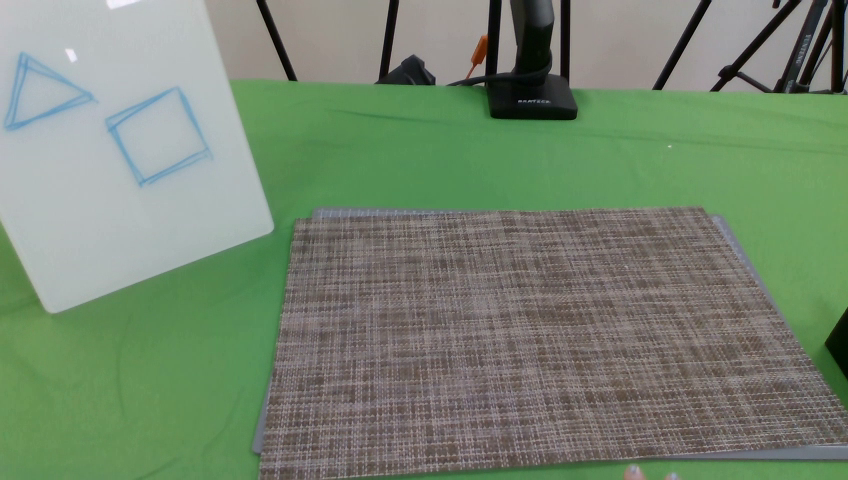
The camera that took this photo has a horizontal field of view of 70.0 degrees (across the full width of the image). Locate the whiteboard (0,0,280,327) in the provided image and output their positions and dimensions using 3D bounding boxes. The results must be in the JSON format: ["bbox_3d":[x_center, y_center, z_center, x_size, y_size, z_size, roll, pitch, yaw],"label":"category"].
[{"bbox_3d":[-0.301,-0.116,0.576,0.217,0.307,0.142,-24,26,-27],"label":"whiteboard"}]
